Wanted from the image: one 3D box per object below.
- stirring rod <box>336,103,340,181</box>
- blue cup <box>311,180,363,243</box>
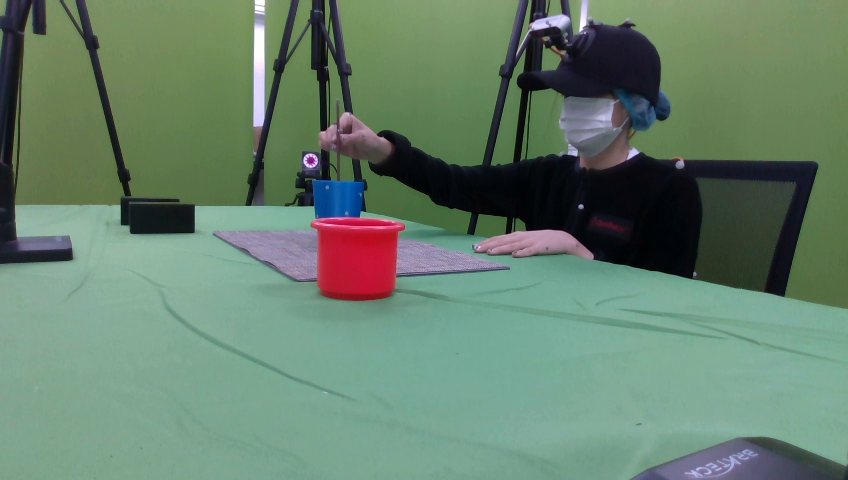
[{"bbox_3d":[-0.142,-0.137,0.996,0.006,0.176,0.014,0,0,-8],"label":"stirring rod"},{"bbox_3d":[-0.144,-0.047,0.997,0.093,0.100,0.092,2,6,0],"label":"blue cup"}]
